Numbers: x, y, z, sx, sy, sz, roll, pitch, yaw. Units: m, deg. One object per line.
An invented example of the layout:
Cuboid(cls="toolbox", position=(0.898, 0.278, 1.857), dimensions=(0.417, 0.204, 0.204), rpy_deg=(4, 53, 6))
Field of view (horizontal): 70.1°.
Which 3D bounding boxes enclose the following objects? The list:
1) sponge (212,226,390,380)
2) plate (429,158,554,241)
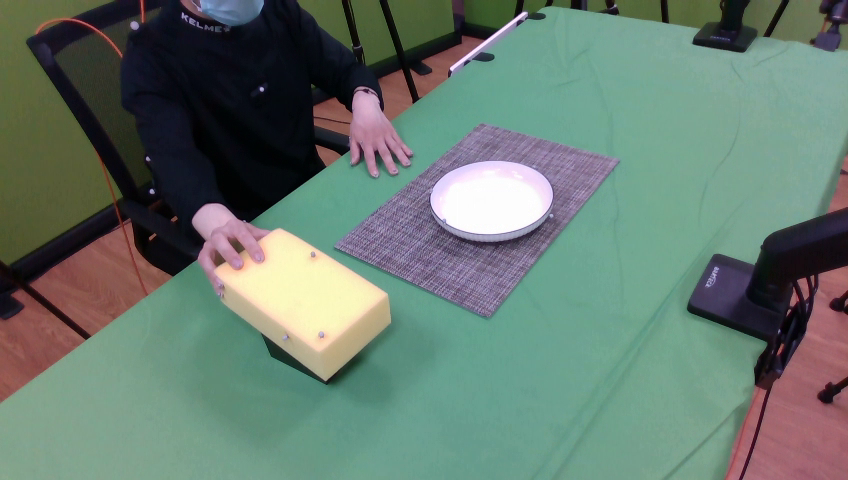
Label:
Cuboid(cls="sponge", position=(-0.160, 0.075, 0.788), dimensions=(0.205, 0.061, 0.118), rpy_deg=(29, 52, 27))
Cuboid(cls="plate", position=(0.112, -0.065, 1.011), dimensions=(0.207, 0.039, 0.206), rpy_deg=(-4, 41, 4))
